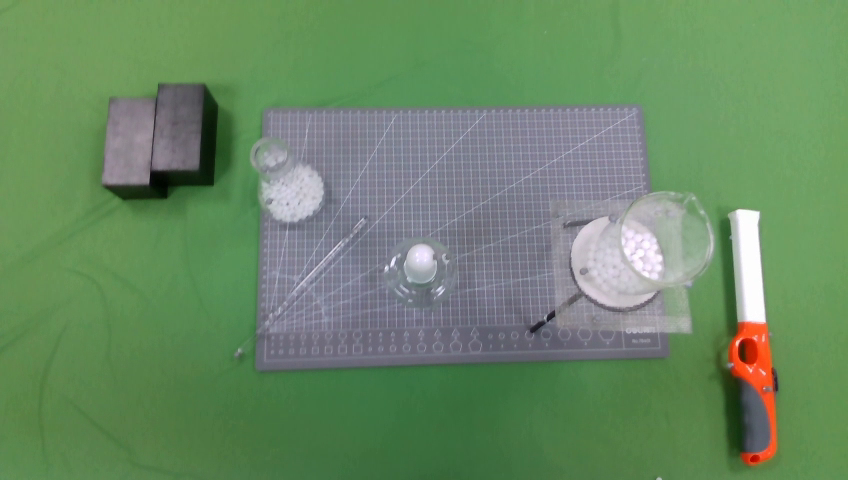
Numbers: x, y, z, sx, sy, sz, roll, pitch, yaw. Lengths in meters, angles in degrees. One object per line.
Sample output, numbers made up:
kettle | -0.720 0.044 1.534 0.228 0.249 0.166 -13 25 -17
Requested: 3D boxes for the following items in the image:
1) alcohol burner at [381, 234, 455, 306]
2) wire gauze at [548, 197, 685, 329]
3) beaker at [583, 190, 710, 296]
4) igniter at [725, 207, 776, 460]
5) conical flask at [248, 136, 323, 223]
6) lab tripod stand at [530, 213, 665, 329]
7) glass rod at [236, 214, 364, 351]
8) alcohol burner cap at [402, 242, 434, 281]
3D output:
alcohol burner | -0.006 0.028 0.620 0.078 0.119 0.077 0 78 0
wire gauze | 0.176 0.020 0.553 0.125 0.011 0.121 2 80 -4
beaker | 0.181 0.005 0.507 0.074 0.100 0.084 34 79 4
igniter | 0.358 0.098 0.669 0.057 0.025 0.275 6 77 -12
conical flask | -0.150 -0.068 0.630 0.075 0.122 0.075 1 77 -2
lab tripod stand | 0.173 0.036 0.617 0.148 0.132 0.147 1 79 -2
glass rod | -0.134 0.044 0.664 0.008 0.008 0.199 41 79 6
alcohol burner cap | -0.005 0.018 0.586 0.034 0.048 0.033 1 71 -3
